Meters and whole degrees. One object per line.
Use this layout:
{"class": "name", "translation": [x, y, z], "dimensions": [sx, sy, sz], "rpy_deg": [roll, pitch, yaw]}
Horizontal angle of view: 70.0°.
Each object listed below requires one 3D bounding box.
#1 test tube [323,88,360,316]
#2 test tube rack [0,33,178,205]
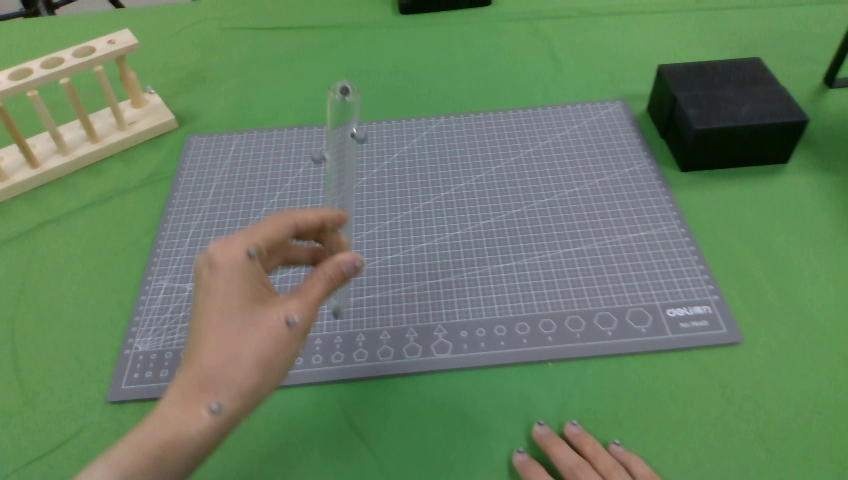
{"class": "test tube", "translation": [-0.047, -0.012, 0.336], "dimensions": [0.017, 0.151, 0.017], "rpy_deg": [6, 39, -4]}
{"class": "test tube rack", "translation": [-0.375, -0.105, 0.575], "dimensions": [0.242, 0.086, 0.066], "rpy_deg": [-30, 53, -22]}
